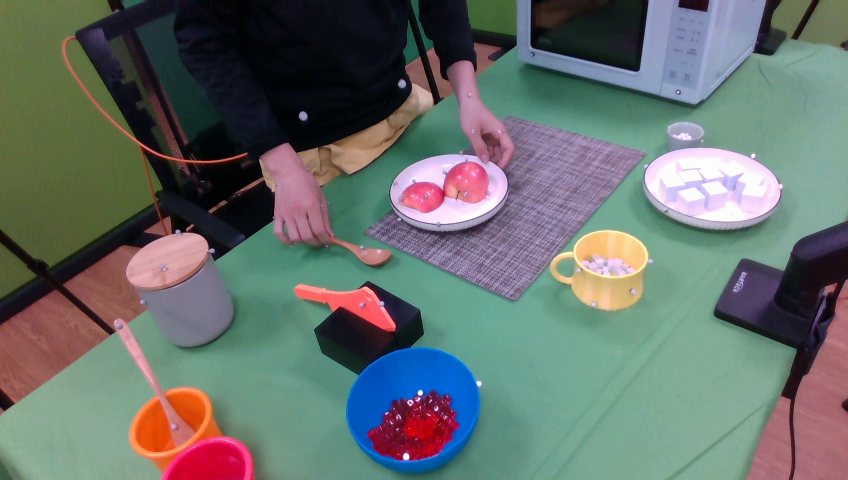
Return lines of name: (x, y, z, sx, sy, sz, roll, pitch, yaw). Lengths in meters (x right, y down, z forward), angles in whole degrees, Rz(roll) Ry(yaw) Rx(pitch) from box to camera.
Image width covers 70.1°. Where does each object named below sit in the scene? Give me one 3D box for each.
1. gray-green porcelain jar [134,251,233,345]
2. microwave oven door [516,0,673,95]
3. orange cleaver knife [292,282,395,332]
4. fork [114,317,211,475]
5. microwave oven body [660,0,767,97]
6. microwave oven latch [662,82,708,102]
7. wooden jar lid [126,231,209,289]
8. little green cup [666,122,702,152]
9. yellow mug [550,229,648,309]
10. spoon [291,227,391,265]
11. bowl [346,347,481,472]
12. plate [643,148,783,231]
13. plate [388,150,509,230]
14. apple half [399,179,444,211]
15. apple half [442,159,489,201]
gray-green porcelain jar: (-0.334, 0.076, 0.849, 0.106, 0.127, 0.105, -4, 41, 4)
microwave oven door: (0.344, -0.458, 1.257, 0.353, 0.245, 0.039, 26, 51, 33)
orange cleaver knife: (-0.116, 0.091, 0.835, 0.209, 0.077, 0.012, 2, 32, 48)
fork: (-0.309, 0.179, 0.707, 0.028, 0.018, 0.207, -30, 89, -22)
microwave oven body: (0.473, -0.517, 1.314, 0.438, 0.261, 0.327, 26, 51, 34)
microwave oven latch: (0.517, -0.298, 1.203, 0.078, 0.029, 0.030, 28, 53, 35)
wooden jar lid: (-0.340, 0.030, 0.808, 0.108, 0.021, 0.108, -5, 39, 5)
little green cup: (0.471, -0.184, 1.102, 0.061, 0.039, 0.061, -5, 41, 5)
yellow mug: (0.245, 0.040, 0.857, 0.130, 0.064, 0.099, 1, 42, 11)
spoon: (-0.138, 0.003, 0.982, 0.192, 0.022, 0.041, 19, 55, 22)
bowl: (-0.008, 0.205, 0.691, 0.151, 0.077, 0.150, -4, 40, 4)
plate: (0.464, -0.080, 0.986, 0.207, 0.039, 0.206, -4, 41, 4)
plate: (0.043, -0.083, 1.042, 0.209, 0.038, 0.208, -4, 40, 4)
apple half: (-0.004, -0.088, 1.045, 0.081, 0.033, 0.081, -2, 43, 2)
apple half: (0.074, -0.110, 1.047, 0.080, 0.053, 0.075, 21, 46, 30)
